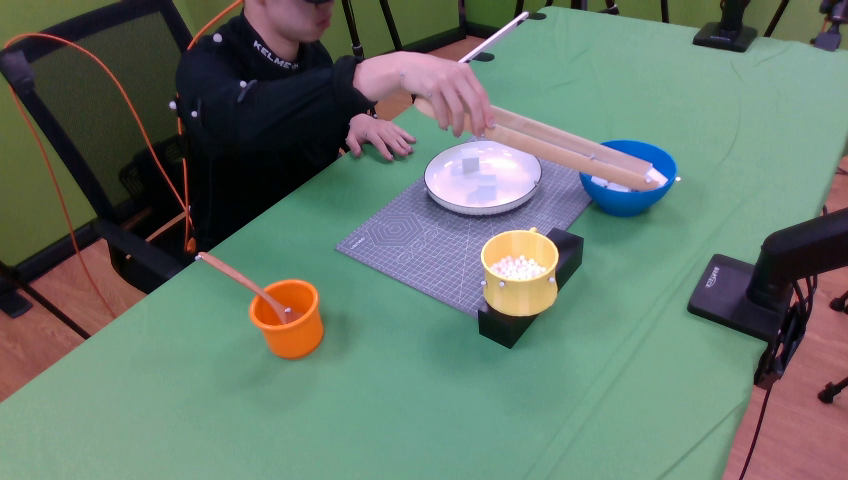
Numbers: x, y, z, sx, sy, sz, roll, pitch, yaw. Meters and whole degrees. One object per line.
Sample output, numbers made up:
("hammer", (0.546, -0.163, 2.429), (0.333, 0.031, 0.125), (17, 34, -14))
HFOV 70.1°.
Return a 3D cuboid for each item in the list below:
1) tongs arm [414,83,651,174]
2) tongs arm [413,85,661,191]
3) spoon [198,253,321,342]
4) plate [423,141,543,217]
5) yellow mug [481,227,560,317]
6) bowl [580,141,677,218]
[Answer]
("tongs arm", (0.171, -0.165, 0.915), (0.389, 0.028, 0.028), (16, 40, -12))
("tongs arm", (0.170, -0.144, 0.887), (0.386, 0.026, 0.050), (16, 37, -13))
("spoon", (-0.220, 0.075, 0.814), (0.021, 0.194, 0.041), (-37, 18, 39))
("plate", (0.103, -0.104, 1.059), (0.207, 0.039, 0.206), (-4, 40, 4))
("yellow mug", (0.132, 0.032, 0.801), (0.099, 0.064, 0.131), (11, 42, 20))
("bowl", (0.326, -0.089, 0.983), (0.151, 0.077, 0.150), (-3, 39, 3))
